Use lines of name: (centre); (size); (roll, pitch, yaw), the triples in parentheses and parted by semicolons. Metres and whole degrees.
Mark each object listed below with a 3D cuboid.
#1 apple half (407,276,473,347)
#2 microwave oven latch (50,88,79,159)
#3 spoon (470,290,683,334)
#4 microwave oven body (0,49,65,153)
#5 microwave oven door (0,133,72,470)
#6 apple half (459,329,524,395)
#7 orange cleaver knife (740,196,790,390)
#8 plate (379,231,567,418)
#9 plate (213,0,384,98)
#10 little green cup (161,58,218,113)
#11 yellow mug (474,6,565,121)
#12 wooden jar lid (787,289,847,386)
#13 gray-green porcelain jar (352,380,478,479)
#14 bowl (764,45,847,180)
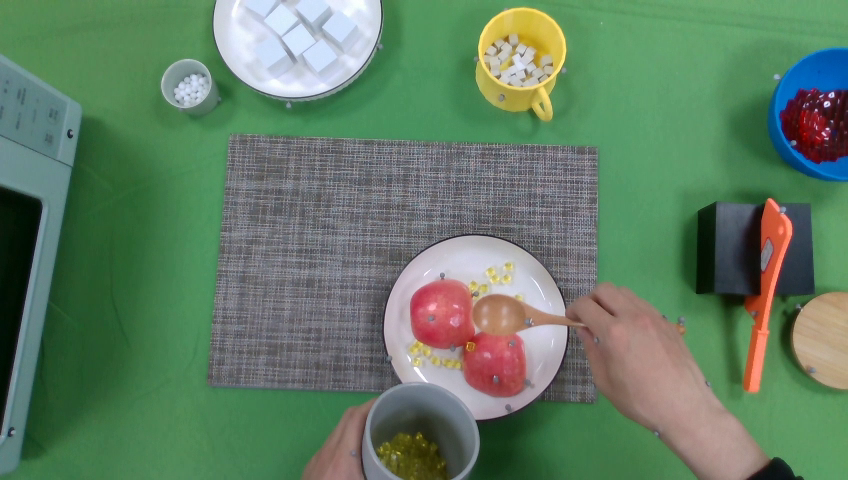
apple half: (0.017, 0.079, 0.676); (0.074, 0.053, 0.080); (0, 83, 4)
microwave oven latch: (-0.435, -0.139, 0.719); (0.030, 0.029, 0.079); (9, 83, 2)
spoon: (0.135, 0.073, 0.561); (0.193, 0.022, 0.041); (3, 87, 27)
microwave oven body: (-0.603, 0.007, 0.607); (0.326, 0.261, 0.440); (6, 83, 2)
microwave oven door: (-0.462, 0.063, 0.591); (0.039, 0.244, 0.354); (5, 82, 3)
apple half: (0.077, 0.134, 0.675); (0.081, 0.033, 0.081); (0, 78, 2)
orange cleaver knife: (0.365, 0.060, 0.665); (0.012, 0.077, 0.212); (3, 106, 6)
plate: (0.055, 0.094, 0.688); (0.209, 0.038, 0.208); (0, 83, 2)
plate: (-0.151, -0.271, 0.748); (0.207, 0.039, 0.207); (0, 82, 2)
little green cup: (-0.283, -0.186, 0.738); (0.061, 0.039, 0.061); (0, 83, 1)
yellow mug: (0.117, -0.200, 0.716); (0.100, 0.064, 0.130); (-26, 83, -2)
wooden jar lid: (0.465, 0.110, 0.686); (0.108, 0.021, 0.108); (0, 82, 3)
gray-green porcelain jar: (-0.013, 0.214, 0.585); (0.106, 0.127, 0.105); (8, 42, -7)
bowl: (0.453, -0.134, 0.690); (0.151, 0.077, 0.151); (0, 82, 2)
